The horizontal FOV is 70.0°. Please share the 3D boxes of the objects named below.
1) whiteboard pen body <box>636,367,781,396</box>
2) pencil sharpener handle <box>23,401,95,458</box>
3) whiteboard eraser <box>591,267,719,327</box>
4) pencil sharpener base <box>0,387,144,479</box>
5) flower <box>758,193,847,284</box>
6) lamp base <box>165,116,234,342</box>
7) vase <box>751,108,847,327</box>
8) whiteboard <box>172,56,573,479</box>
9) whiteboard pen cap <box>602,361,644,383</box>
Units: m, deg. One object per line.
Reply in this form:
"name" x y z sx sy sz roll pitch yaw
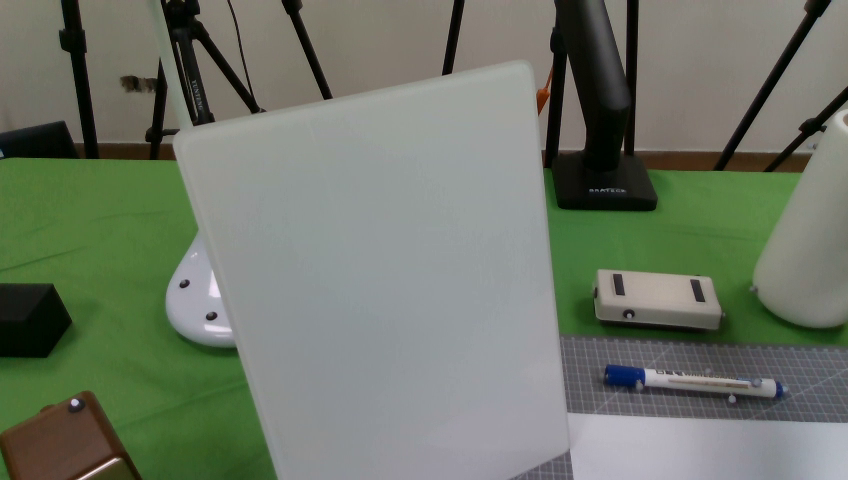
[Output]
"whiteboard pen body" 0.233 0.121 0.525 0.140 0.017 0.017 3 38 7
"pencil sharpener handle" -0.261 0.131 0.434 0.036 0.068 0.030 -35 48 -24
"whiteboard eraser" 0.222 0.058 0.592 0.112 0.042 0.055 3 36 6
"pencil sharpener base" -0.229 0.165 0.410 0.061 0.108 0.076 -29 45 -30
"flower" 0.384 -0.071 0.489 0.044 0.364 0.038 -13 55 -24
"lamp base" -0.195 -0.020 0.590 0.161 0.182 0.177 -31 44 -33
"vase" 0.376 -0.015 0.553 0.098 0.202 0.097 0 38 0
"whiteboard" -0.031 0.039 0.451 0.218 0.307 0.142 -17 21 -18
"whiteboard pen cap" 0.174 0.117 0.531 0.033 0.018 0.018 5 38 5
